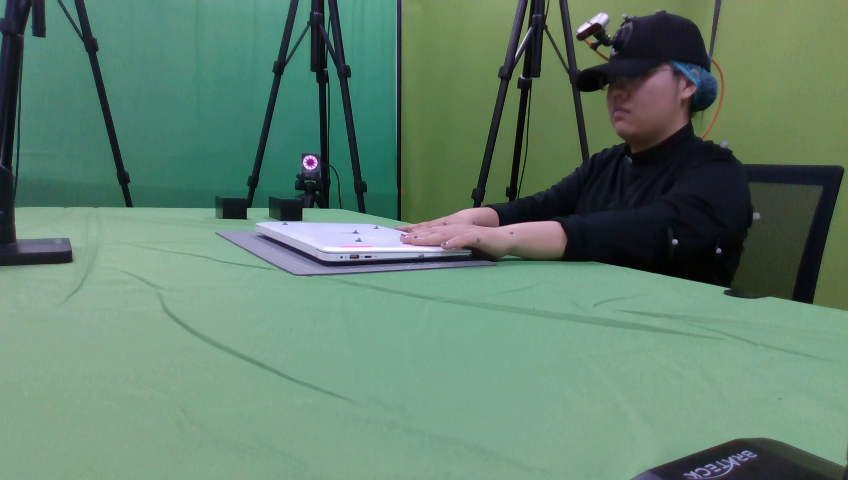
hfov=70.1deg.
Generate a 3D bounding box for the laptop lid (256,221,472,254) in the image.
[{"bbox_3d":[-0.112,-0.007,0.972,0.243,0.013,0.355,1,7,-29],"label":"laptop lid"}]

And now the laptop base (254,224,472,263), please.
[{"bbox_3d":[-0.115,0.005,0.973,0.237,0.023,0.352,2,6,-31],"label":"laptop base"}]
